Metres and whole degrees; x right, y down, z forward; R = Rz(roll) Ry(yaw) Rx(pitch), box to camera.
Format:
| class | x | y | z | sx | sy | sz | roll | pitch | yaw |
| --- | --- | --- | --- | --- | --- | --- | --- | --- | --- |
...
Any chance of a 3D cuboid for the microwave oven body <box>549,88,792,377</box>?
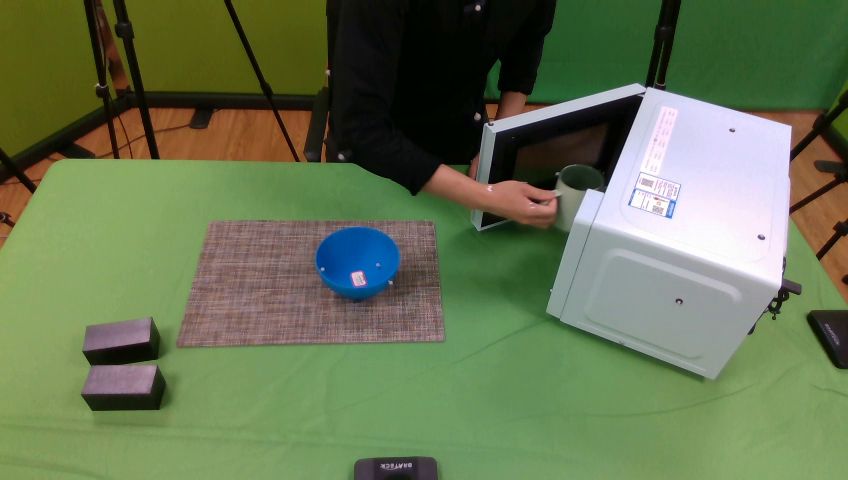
| class | x | y | z | sx | sy | sz | roll | pitch | yaw |
| --- | --- | --- | --- | --- | --- | --- | --- | --- | --- |
| microwave oven body | 0.456 | -0.028 | 1.088 | 0.325 | 0.261 | 0.440 | 20 | 47 | 16 |

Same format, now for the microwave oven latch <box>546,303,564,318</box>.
| class | x | y | z | sx | sy | sz | roll | pitch | yaw |
| --- | --- | --- | --- | --- | --- | --- | --- | --- | --- |
| microwave oven latch | 0.242 | 0.102 | 1.081 | 0.030 | 0.029 | 0.079 | 21 | 48 | 17 |

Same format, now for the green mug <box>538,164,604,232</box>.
| class | x | y | z | sx | sy | sz | roll | pitch | yaw |
| --- | --- | --- | --- | --- | --- | --- | --- | --- | --- |
| green mug | 0.266 | -0.071 | 1.111 | 0.125 | 0.105 | 0.092 | -17 | 48 | -16 |

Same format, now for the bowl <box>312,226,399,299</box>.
| class | x | y | z | sx | sy | sz | roll | pitch | yaw |
| --- | --- | --- | --- | --- | --- | --- | --- | --- | --- |
| bowl | -0.120 | 0.054 | 1.091 | 0.151 | 0.077 | 0.150 | 2 | 46 | -2 |

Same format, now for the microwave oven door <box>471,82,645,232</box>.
| class | x | y | z | sx | sy | sz | roll | pitch | yaw |
| --- | --- | --- | --- | --- | --- | --- | --- | --- | --- |
| microwave oven door | 0.264 | -0.165 | 1.198 | 0.356 | 0.245 | 0.039 | -19 | 49 | -20 |
